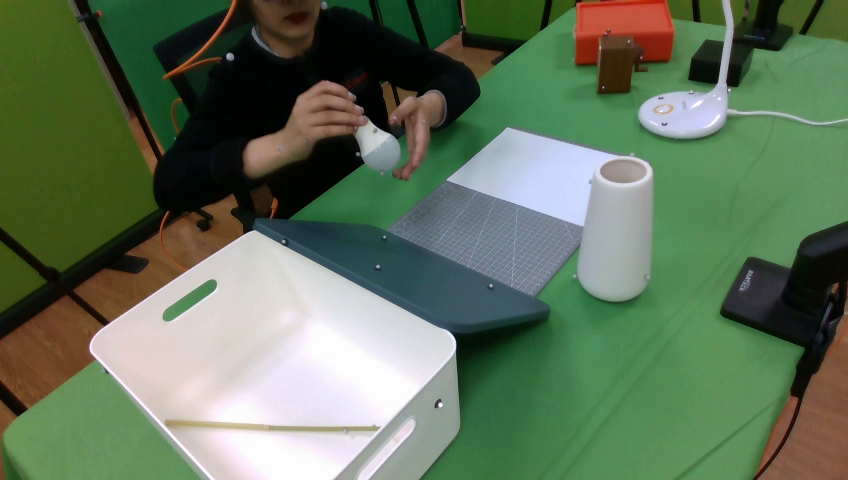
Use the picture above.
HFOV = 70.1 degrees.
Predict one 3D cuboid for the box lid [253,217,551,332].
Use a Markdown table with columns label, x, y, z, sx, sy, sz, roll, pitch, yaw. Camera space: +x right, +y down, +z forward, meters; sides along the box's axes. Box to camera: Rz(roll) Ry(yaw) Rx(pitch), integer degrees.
| label | x | y | z | sx | sy | sz | roll | pitch | yaw |
| --- | --- | --- | --- | --- | --- | --- | --- | --- | --- |
| box lid | -0.031 | 0.037 | 0.833 | 0.368 | 0.015 | 0.265 | 24 | 12 | 33 |

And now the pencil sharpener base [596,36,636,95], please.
| label | x | y | z | sx | sy | sz | roll | pitch | yaw |
| --- | --- | --- | --- | --- | --- | --- | --- | --- | --- |
| pencil sharpener base | 0.406 | -0.369 | 1.280 | 0.076 | 0.107 | 0.061 | 1 | 41 | 13 |

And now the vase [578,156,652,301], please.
| label | x | y | z | sx | sy | sz | roll | pitch | yaw |
| --- | --- | --- | --- | --- | --- | --- | --- | --- | --- |
| vase | 0.261 | -0.011 | 0.812 | 0.098 | 0.201 | 0.097 | -4 | 40 | 4 |

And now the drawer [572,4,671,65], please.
| label | x | y | z | sx | sy | sz | roll | pitch | yaw |
| --- | --- | --- | --- | --- | --- | --- | --- | --- | --- |
| drawer | 0.461 | -0.490 | 1.435 | 0.211 | 0.073 | 0.194 | 2 | 40 | 12 |

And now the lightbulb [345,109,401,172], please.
| label | x | y | z | sx | sy | sz | roll | pitch | yaw |
| --- | --- | --- | --- | --- | --- | --- | --- | --- | --- |
| lightbulb | -0.080 | -0.151 | 0.908 | 0.059 | 0.108 | 0.059 | -36 | 17 | 13 |

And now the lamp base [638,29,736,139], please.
| label | x | y | z | sx | sy | sz | roll | pitch | yaw |
| --- | --- | --- | --- | --- | --- | --- | --- | --- | --- |
| lamp base | 0.501 | -0.302 | 1.125 | 0.179 | 0.181 | 0.160 | -4 | 40 | 3 |

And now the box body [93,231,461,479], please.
| label | x | y | z | sx | sy | sz | roll | pitch | yaw |
| --- | --- | --- | --- | --- | --- | --- | --- | --- | --- |
| box body | -0.162 | 0.170 | 0.708 | 0.361 | 0.161 | 0.255 | 25 | 50 | 34 |

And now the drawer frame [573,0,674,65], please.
| label | x | y | z | sx | sy | sz | roll | pitch | yaw |
| --- | --- | --- | --- | --- | --- | --- | --- | --- | --- |
| drawer frame | 0.464 | -0.492 | 1.434 | 0.213 | 0.083 | 0.201 | 1 | 40 | 12 |

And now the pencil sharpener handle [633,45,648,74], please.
| label | x | y | z | sx | sy | sz | roll | pitch | yaw |
| --- | --- | --- | --- | --- | --- | --- | --- | --- | --- |
| pencil sharpener handle | 0.454 | -0.378 | 1.262 | 0.030 | 0.068 | 0.036 | 1 | 47 | 13 |

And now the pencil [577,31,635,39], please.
| label | x | y | z | sx | sy | sz | roll | pitch | yaw |
| --- | --- | --- | --- | --- | --- | --- | --- | --- | --- |
| pencil | 0.431 | -0.489 | 1.443 | 0.012 | 0.012 | 0.192 | -25 | 30 | -18 |

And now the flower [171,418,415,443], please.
| label | x | y | z | sx | sy | sz | roll | pitch | yaw |
| --- | --- | --- | --- | --- | --- | --- | --- | --- | --- |
| flower | -0.154 | 0.228 | 0.742 | 0.360 | 0.038 | 0.044 | -2 | 47 | 15 |
